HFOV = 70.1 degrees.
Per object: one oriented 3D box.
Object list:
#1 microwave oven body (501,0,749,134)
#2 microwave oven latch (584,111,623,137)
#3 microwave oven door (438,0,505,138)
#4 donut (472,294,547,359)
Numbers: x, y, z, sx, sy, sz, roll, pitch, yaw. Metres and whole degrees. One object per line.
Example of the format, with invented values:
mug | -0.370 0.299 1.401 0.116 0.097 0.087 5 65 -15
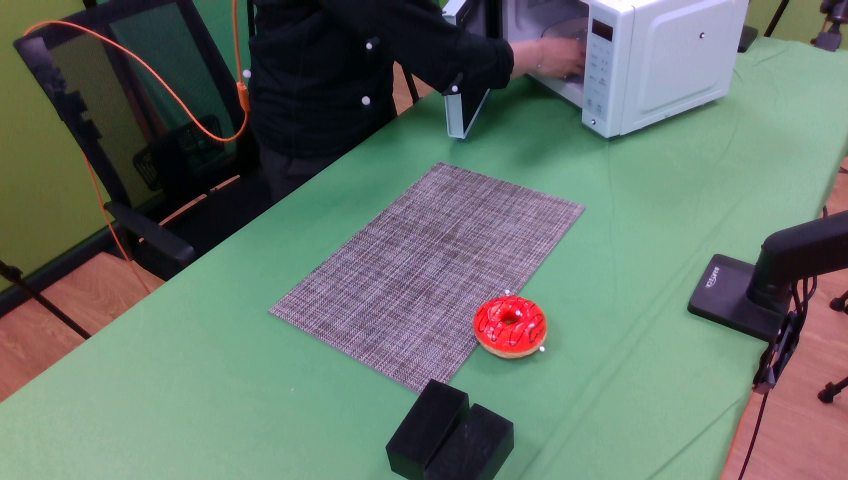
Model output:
microwave oven body | 0.382 -0.444 1.246 0.327 0.261 0.437 -22 42 -16
microwave oven latch | 0.337 -0.222 1.142 0.030 0.029 0.078 -21 42 -14
microwave oven door | 0.106 -0.406 1.231 0.039 0.245 0.355 7 43 18
donut | 0.114 0.114 0.803 0.099 0.048 0.098 0 40 1
